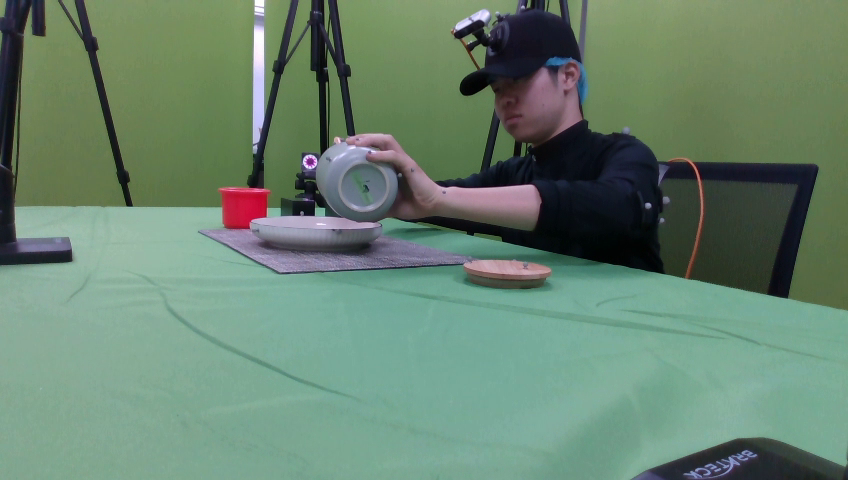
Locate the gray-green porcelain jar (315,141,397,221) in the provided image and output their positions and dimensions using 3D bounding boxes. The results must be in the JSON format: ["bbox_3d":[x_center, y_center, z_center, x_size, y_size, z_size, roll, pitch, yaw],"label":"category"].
[{"bbox_3d":[-0.099,-0.085,0.869,0.106,0.106,0.126,1,12,-17],"label":"gray-green porcelain jar"}]

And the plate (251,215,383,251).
[{"bbox_3d":[-0.170,-0.012,0.971,0.208,0.039,0.207,2,7,0],"label":"plate"}]

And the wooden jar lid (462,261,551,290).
[{"bbox_3d":[0.100,0.043,0.742,0.108,0.020,0.108,2,6,0],"label":"wooden jar lid"}]

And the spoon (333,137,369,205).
[{"bbox_3d":[-0.119,-0.109,0.913,0.042,0.021,0.193,-5,34,-16],"label":"spoon"}]
